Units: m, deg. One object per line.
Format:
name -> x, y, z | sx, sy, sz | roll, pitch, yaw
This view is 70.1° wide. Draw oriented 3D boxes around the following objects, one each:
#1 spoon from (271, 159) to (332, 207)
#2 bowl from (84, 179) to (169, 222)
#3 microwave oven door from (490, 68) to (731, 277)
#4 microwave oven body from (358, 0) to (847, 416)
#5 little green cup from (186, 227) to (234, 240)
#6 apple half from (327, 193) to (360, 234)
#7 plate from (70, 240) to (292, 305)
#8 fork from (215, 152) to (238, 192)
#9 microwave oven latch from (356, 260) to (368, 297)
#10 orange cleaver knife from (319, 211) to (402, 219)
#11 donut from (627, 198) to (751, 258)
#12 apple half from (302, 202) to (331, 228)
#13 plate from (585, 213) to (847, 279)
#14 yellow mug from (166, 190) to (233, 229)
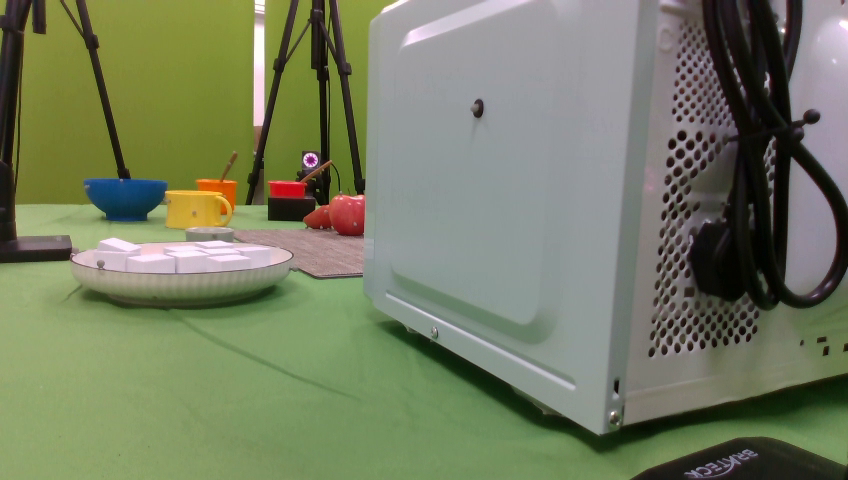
spoon -> -0.307, -0.142, 1.514 | 0.193, 0.021, 0.041 | -41, 4, 8
bowl -> -0.584, -0.078, 1.194 | 0.151, 0.077, 0.151 | 3, 8, 0
microwave oven door -> 0.230, -0.098, 0.834 | 0.039, 0.243, 0.354 | -3, 9, -37
microwave oven body -> 0.211, -0.047, 0.475 | 0.444, 0.260, 0.324 | -1, 7, -28
little green cup -> -0.285, 0.005, 0.805 | 0.061, 0.038, 0.061 | 2, 8, 0
apple half -> -0.132, -0.047, 1.087 | 0.081, 0.074, 0.053 | 4, 11, -13
plate -> -0.242, 0.032, 0.618 | 0.208, 0.039, 0.207 | 2, 8, 0
fork -> -0.455, -0.132, 1.367 | 0.028, 0.018, 0.207 | -2, -35, -37
microwave oven latch -> -0.020, 0.033, 0.530 | 0.079, 0.029, 0.030 | -1, 7, -27
orange cleaver knife -> -0.142, -0.057, 1.394 | 0.077, 0.012, 0.212 | 3, 7, 44
donut -> 0.226, -0.010, 0.520 | 0.099, 0.048, 0.099 | 4, 6, 0
apple half -> -0.192, -0.043, 1.169 | 0.081, 0.032, 0.081 | -23, -12, -5
plate -> 0.243, 0.002, 0.512 | 0.209, 0.038, 0.209 | 2, 7, 0
yellow mug -> -0.415, -0.057, 1.131 | 0.130, 0.064, 0.100 | 6, 8, 16
